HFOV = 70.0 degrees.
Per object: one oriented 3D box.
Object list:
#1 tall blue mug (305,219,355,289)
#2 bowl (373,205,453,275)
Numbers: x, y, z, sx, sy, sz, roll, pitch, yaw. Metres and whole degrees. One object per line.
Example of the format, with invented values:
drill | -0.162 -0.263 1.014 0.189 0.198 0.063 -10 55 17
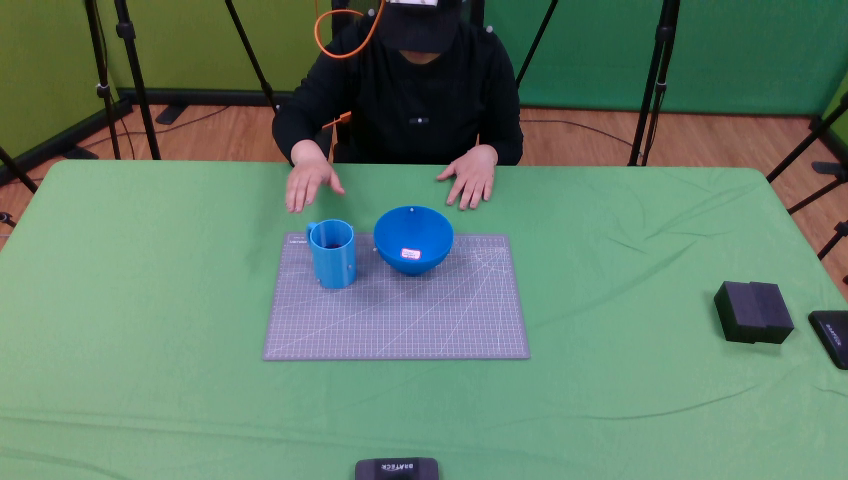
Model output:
tall blue mug | -0.180 0.022 1.099 0.107 0.108 0.077 15 48 10
bowl | -0.022 0.013 1.143 0.151 0.077 0.150 2 46 -2
